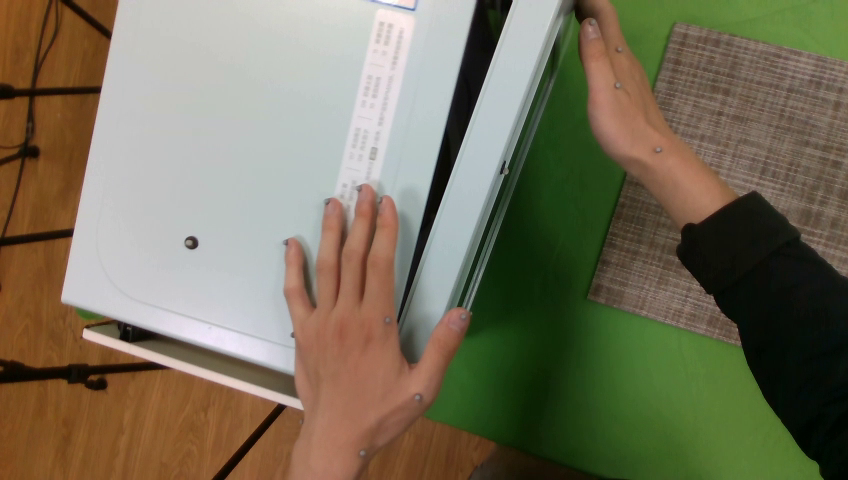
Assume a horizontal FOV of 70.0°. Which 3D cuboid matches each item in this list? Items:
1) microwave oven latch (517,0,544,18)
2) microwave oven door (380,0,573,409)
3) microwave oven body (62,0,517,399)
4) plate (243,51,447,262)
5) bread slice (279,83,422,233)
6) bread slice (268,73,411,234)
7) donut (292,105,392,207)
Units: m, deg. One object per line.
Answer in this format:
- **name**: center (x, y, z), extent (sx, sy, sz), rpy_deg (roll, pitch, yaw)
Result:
- **microwave oven latch**: center (0.115, -0.270, 0.613), extent (0.030, 0.029, 0.079), rpy_deg (15, 97, 9)
- **microwave oven door**: center (0.055, -0.050, 0.535), extent (0.039, 0.244, 0.356), rpy_deg (20, 97, 10)
- **microwave oven body**: center (-0.088, -0.133, 0.560), extent (0.325, 0.260, 0.442), rpy_deg (15, 97, 9)
- **plate**: center (-0.078, -0.081, 0.613), extent (0.207, 0.039, 0.207), rpy_deg (0, 94, 8)
- **bread slice**: center (-0.082, -0.088, 0.609), extent (0.107, 0.018, 0.134), rpy_deg (-33, 91, 2)
- **bread slice**: center (-0.087, -0.084, 0.559), extent (0.105, 0.019, 0.131), rpy_deg (-28, 91, 12)
- **donut**: center (-0.079, -0.081, 0.585), extent (0.099, 0.048, 0.099), rpy_deg (0, 93, 5)
